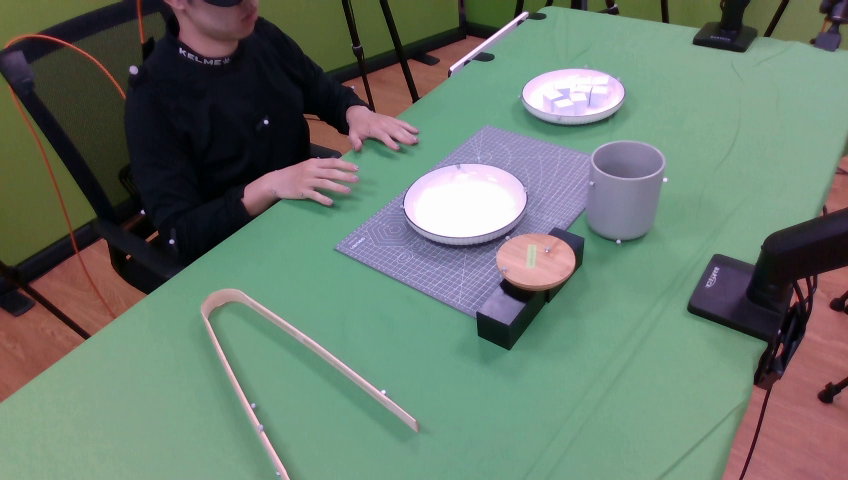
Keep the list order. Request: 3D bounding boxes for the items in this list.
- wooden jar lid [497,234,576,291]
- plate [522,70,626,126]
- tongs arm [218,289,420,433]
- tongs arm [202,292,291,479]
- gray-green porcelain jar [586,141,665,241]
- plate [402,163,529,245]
[{"bbox_3d":[0.155,0.032,0.834,0.108,0.021,0.108,-5,40,5],"label":"wooden jar lid"},{"bbox_3d":[0.308,-0.290,1.251,0.207,0.039,0.206,-4,40,4],"label":"plate"},{"bbox_3d":[-0.153,0.151,0.811,0.384,0.028,0.028,26,53,33],"label":"tongs arm"},{"bbox_3d":[-0.216,0.187,0.772,0.051,0.026,0.381,-28,44,-24],"label":"tongs arm"},{"bbox_3d":[0.305,-0.070,0.927,0.106,0.127,0.105,-4,41,4],"label":"gray-green porcelain jar"},{"bbox_3d":[0.069,-0.056,1.008,0.209,0.038,0.208,-4,40,4],"label":"plate"}]
